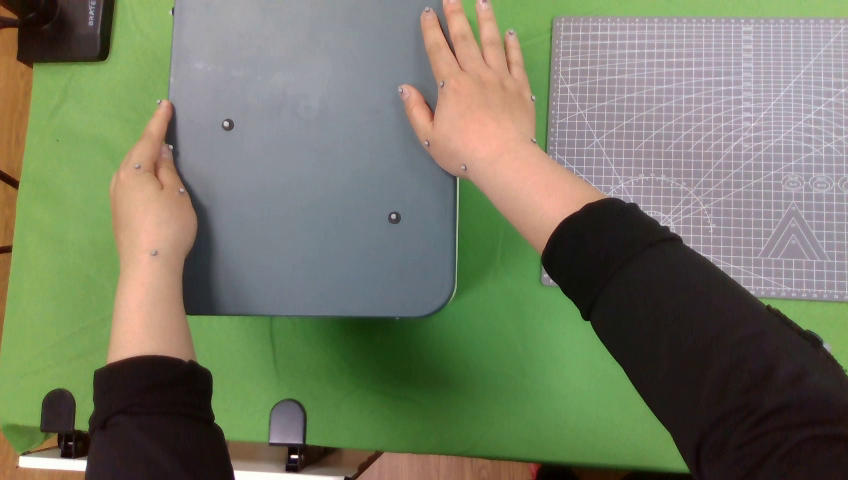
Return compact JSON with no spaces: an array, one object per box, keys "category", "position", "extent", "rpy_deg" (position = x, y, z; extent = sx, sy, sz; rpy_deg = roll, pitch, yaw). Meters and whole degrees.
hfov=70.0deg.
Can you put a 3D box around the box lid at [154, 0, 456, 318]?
[{"category":"box lid","position":[-0.104,-0.118,0.534],"extent":[0.263,0.015,0.370],"rpy_deg":[-1,84,6]}]

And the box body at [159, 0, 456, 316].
[{"category":"box body","position":[-0.095,-0.106,0.606],"extent":[0.254,0.161,0.363],"rpy_deg":[-1,83,6]}]
